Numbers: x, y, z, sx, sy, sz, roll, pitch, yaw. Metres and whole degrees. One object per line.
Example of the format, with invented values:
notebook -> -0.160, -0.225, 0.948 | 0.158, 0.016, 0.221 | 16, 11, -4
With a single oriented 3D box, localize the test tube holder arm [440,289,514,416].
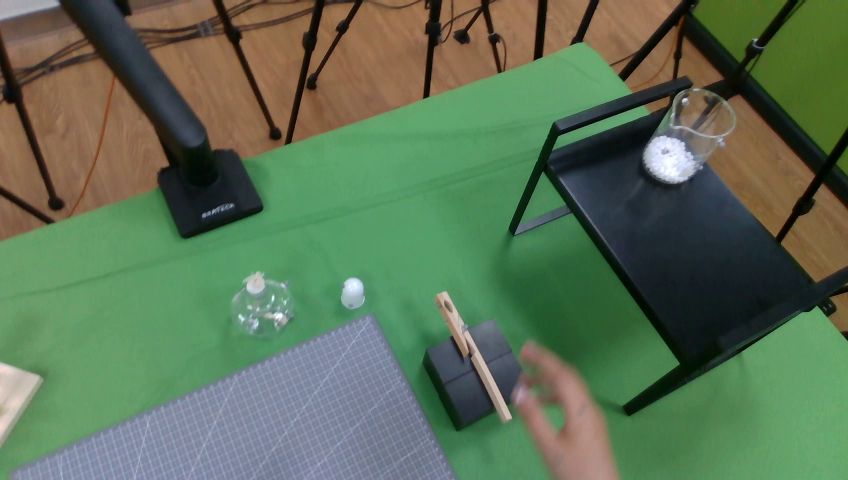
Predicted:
test tube holder arm -> 0.062, 0.138, 0.756 | 0.013, 0.015, 0.177 | -21, 66, -26

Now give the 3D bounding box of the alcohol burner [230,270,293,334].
alcohol burner -> -0.205, 0.071, 0.758 | 0.078, 0.120, 0.077 | 4, 58, -6

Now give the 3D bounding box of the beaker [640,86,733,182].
beaker -> 0.312, -0.124, 0.738 | 0.084, 0.101, 0.073 | -20, 64, -17

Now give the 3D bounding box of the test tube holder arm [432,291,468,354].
test tube holder arm -> 0.036, 0.104, 0.770 | 0.010, 0.015, 0.087 | -20, 66, -25

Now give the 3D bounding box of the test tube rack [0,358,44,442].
test tube rack -> -0.522, 0.230, 0.640 | 0.067, 0.086, 0.240 | 18, 60, 3

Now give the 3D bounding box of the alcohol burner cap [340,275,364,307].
alcohol burner cap -> -0.097, 0.066, 0.817 | 0.034, 0.048, 0.033 | 3, 59, -5
